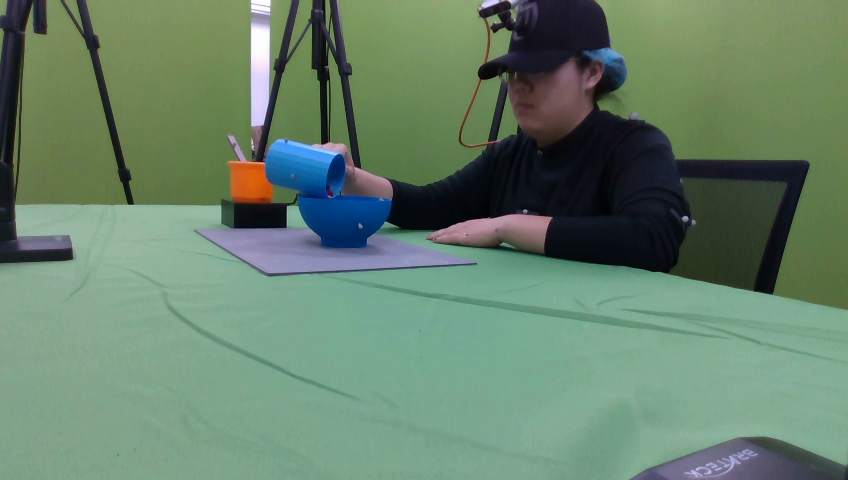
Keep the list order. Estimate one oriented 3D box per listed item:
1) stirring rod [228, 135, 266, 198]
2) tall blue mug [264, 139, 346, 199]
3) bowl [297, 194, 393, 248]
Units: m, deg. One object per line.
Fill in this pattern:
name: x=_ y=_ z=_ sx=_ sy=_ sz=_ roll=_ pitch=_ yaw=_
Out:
stirring rod: x=-0.352 y=-0.148 z=1.198 sx=0.014 sy=0.006 sz=0.175 roll=-6 pitch=54 yaw=-44
tall blue mug: x=-0.187 y=-0.126 z=0.994 sx=0.108 sy=0.078 sz=0.107 roll=15 pitch=50 yaw=13
bowl: x=-0.127 y=-0.030 z=0.964 sx=0.151 sy=0.077 sz=0.151 roll=2 pitch=7 yaw=0
